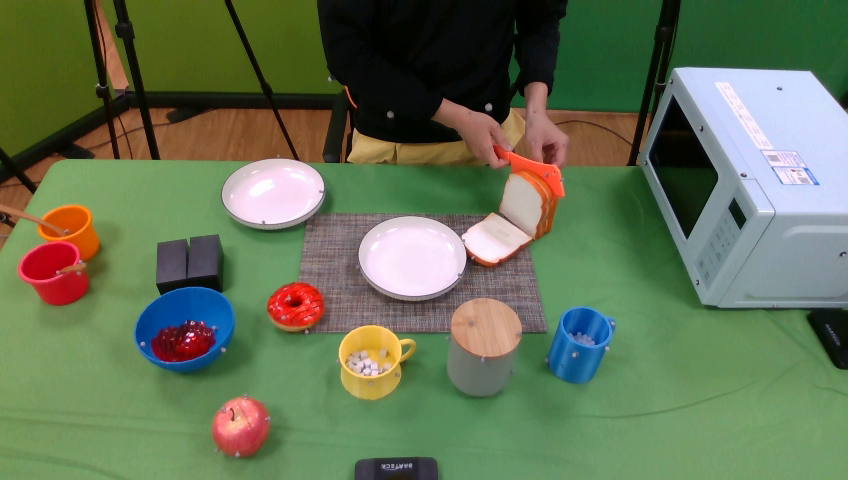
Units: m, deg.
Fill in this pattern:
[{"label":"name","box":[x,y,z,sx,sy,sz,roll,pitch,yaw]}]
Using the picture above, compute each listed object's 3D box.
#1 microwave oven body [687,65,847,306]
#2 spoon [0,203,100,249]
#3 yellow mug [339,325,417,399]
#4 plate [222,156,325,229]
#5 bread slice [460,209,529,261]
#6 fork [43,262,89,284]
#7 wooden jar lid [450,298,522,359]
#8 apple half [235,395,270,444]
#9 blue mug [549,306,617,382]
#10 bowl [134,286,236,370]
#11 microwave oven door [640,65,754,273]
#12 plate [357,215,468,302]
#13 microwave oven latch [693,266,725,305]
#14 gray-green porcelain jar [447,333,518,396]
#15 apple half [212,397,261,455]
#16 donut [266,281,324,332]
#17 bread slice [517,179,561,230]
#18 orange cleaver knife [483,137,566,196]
[{"label":"microwave oven body","box":[0.669,-0.111,1.176,0.326,0.261,0.439,0,46,-3]},{"label":"spoon","box":[-0.683,-0.031,1.088,0.021,0.195,0.041,-35,43,26]},{"label":"yellow mug","box":[-0.072,0.191,0.978,0.131,0.064,0.099,-17,49,-20]},{"label":"plate","box":[-0.308,-0.095,1.251,0.209,0.038,0.208,2,46,-2]},{"label":"bread slice","box":[0.130,-0.008,1.198,0.104,0.019,0.131,24,49,29]},{"label":"fork","box":[-0.599,0.053,1.013,0.207,0.019,0.028,-14,30,45]},{"label":"wooden jar lid","box":[0.093,0.135,0.914,0.108,0.021,0.107,2,48,-3]},{"label":"apple half","box":[-0.245,0.259,0.893,0.033,0.082,0.081,-29,55,-22]},{"label":"blue mug","box":[0.269,0.166,0.998,0.116,0.106,0.082,-19,51,-21]},{"label":"bowl","box":[-0.377,0.156,0.981,0.151,0.077,0.150,2,46,-2]},{"label":"microwave oven door","box":[0.523,-0.147,1.193,0.039,0.245,0.353,0,47,-3]},{"label":"plate","box":[-0.022,0.037,1.141,0.208,0.039,0.206,2,46,-2]},{"label":"microwave oven latch","box":[0.523,0.082,1.115,0.030,0.029,0.078,3,46,0]},{"label":"gray-green porcelain jar","box":[0.091,0.178,0.960,0.106,0.127,0.105,2,46,-2]},{"label":"apple half","box":[-0.276,0.276,0.877,0.053,0.075,0.080,-29,58,-21]},{"label":"donut","box":[-0.222,0.114,1.049,0.099,0.048,0.098,2,46,-2]},{"label":"bread slice","box":[0.234,-0.091,1.225,0.018,0.135,0.106,-34,56,-25]},{"label":"orange cleaver knife","box":[0.196,-0.147,1.198,0.012,0.077,0.210,-35,47,-25]}]
